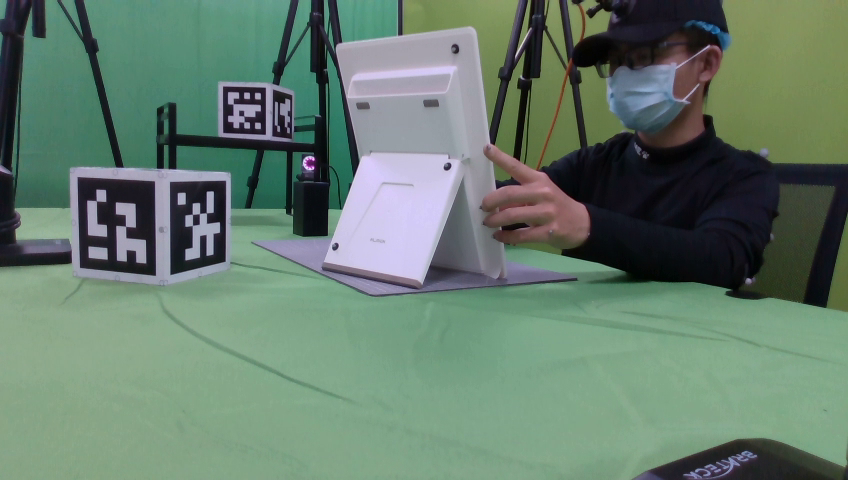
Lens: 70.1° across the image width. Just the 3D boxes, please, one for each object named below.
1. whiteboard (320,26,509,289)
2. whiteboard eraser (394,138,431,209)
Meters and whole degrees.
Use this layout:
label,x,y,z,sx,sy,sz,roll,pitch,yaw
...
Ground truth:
label,x,y,z,sx,sy,sz,roll,pitch,yaw
whiteboard,-0.046,-0.076,0.720,0.216,0.305,0.144,9,29,39
whiteboard eraser,-0.015,-0.087,0.798,0.041,0.101,0.019,35,42,26
